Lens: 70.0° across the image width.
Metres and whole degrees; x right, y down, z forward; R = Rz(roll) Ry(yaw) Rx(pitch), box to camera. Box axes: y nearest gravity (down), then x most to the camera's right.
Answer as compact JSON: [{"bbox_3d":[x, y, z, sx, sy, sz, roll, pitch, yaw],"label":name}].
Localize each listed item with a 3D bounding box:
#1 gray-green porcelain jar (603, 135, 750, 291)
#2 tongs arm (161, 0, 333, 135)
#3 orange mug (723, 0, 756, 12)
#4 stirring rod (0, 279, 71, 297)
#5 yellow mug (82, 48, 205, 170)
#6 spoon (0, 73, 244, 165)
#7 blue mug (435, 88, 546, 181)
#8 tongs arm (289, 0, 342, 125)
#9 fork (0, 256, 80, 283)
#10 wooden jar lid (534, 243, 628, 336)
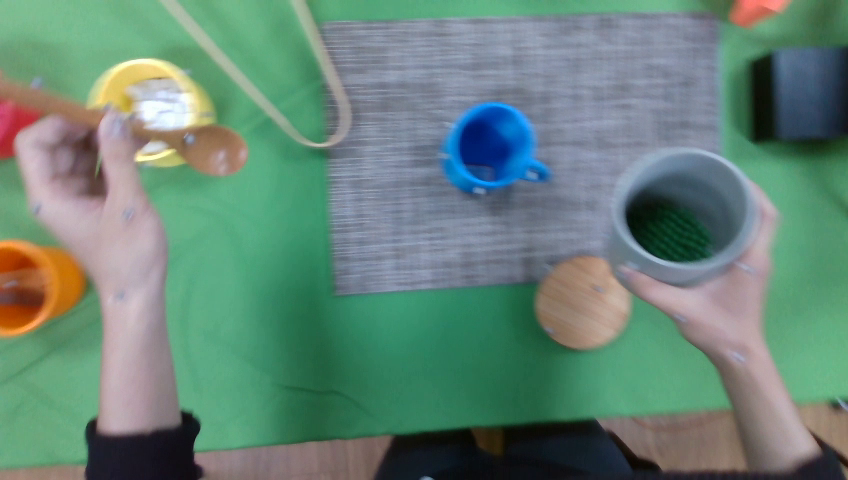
[{"bbox_3d":[0.214,-0.016,0.534,0.105,0.127,0.105,-4,70,12],"label":"gray-green porcelain jar"},{"bbox_3d":[-0.241,-0.249,0.614,0.051,0.026,0.386,-43,103,-5],"label":"tongs arm"},{"bbox_3d":[0.368,-0.316,0.652,0.083,0.100,0.126,19,87,-5],"label":"orange mug"},{"bbox_3d":[-0.434,0.042,0.581,0.006,0.177,0.014,-9,76,39],"label":"stirring rod"},{"bbox_3d":[-0.294,-0.126,0.623,0.100,0.064,0.131,35,91,-6],"label":"yellow mug"},{"bbox_3d":[-0.202,-0.084,0.419,0.021,0.195,0.041,35,102,24],"label":"spoon"},{"bbox_3d":[0.072,-0.100,0.632,0.117,0.105,0.082,22,91,-6],"label":"blue mug"},{"bbox_3d":[-0.174,-0.300,0.620,0.028,0.027,0.389,-30,102,-11],"label":"tongs arm"},{"bbox_3d":[-0.443,0.025,0.576,0.209,0.018,0.028,8,93,-49],"label":"fork"},{"bbox_3d":[0.179,0.057,0.696,0.108,0.020,0.108,0,97,-4],"label":"wooden jar lid"}]
